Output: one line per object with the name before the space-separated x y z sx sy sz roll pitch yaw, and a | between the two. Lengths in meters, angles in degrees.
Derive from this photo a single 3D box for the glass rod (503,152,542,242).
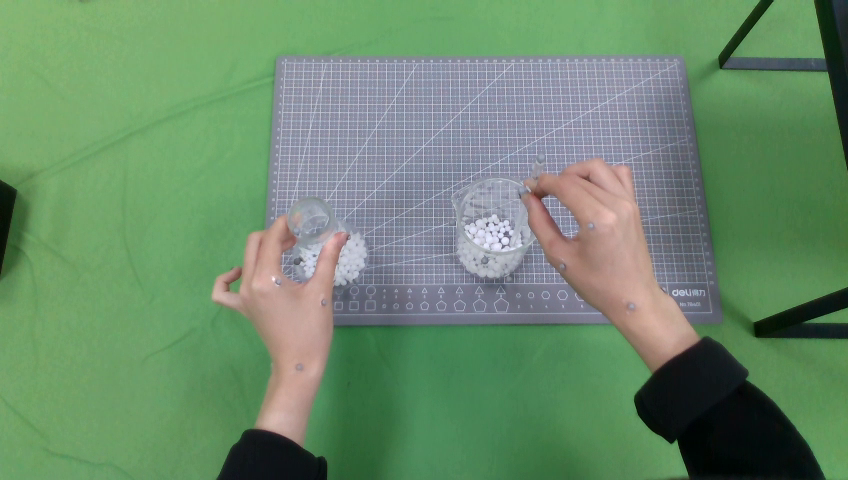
glass rod | 0.079 -0.030 0.506 0.008 0.201 0.008 0 74 1

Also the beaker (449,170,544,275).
beaker | 0.061 -0.013 0.562 0.084 0.101 0.073 23 74 7

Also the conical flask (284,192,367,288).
conical flask | -0.094 -0.004 0.546 0.075 0.122 0.075 0 73 0
